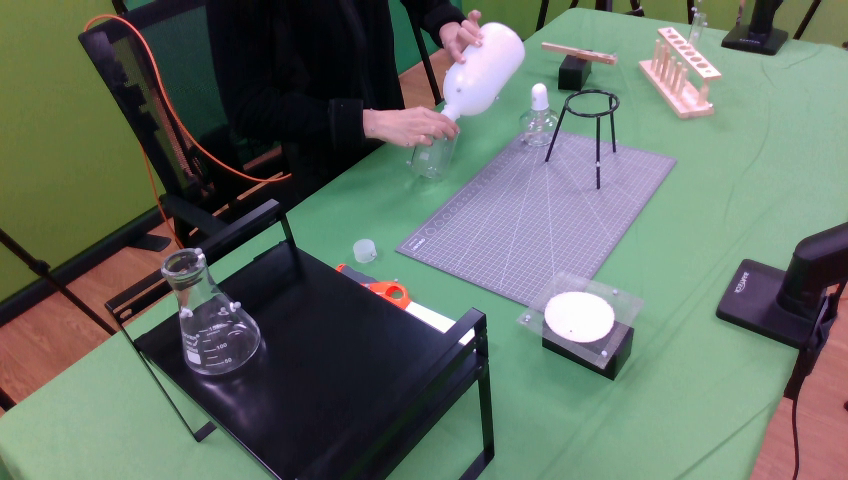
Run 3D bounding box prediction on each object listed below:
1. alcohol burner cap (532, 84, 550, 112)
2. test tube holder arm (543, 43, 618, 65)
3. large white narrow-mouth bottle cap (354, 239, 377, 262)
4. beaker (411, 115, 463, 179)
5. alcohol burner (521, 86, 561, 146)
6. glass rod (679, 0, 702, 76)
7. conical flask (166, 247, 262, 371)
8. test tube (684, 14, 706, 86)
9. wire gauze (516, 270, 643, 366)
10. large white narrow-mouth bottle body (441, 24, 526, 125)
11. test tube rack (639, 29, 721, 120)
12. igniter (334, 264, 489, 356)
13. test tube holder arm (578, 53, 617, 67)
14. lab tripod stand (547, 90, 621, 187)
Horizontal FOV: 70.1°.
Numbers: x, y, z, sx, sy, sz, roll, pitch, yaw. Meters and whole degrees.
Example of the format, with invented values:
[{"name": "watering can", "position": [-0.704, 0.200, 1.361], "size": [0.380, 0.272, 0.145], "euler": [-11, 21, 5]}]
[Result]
[{"name": "alcohol burner cap", "position": [0.218, -0.269, 1.133], "size": [0.034, 0.048, 0.033], "euler": [-8, 37, 7]}, {"name": "test tube holder arm", "position": [0.344, -0.413, 1.340], "size": [0.177, 0.015, 0.013], "euler": [25, 51, 31]}, {"name": "large white narrow-mouth bottle cap", "position": [-0.095, 0.017, 0.981], "size": [0.038, 0.024, 0.037], "euler": [-4, 40, 4]}, {"name": "beaker", "position": [0.023, -0.168, 1.108], "size": [0.085, 0.100, 0.073], "euler": [6, 20, -39]}, {"name": "alcohol burner", "position": [0.223, -0.241, 1.155], "size": [0.078, 0.119, 0.077], "euler": [-5, 43, 5]}, {"name": "glass rod", "position": [0.543, -0.417, 1.233], "size": [0.008, 0.200, 0.008], "euler": [1, 40, 0]}, {"name": "conical flask", "position": [-0.208, 0.064, 0.584], "size": [0.075, 0.122, 0.075], "euler": [-5, 40, 4]}, {"name": "test tube", "position": [0.540, -0.378, 1.215], "size": [0.017, 0.151, 0.017], "euler": [-2, 44, 3]}, {"name": "wire gauze", "position": [0.200, 0.093, 0.777], "size": [0.124, 0.011, 0.122], "euler": [23, 49, 32]}, {"name": "large white narrow-mouth bottle body", "position": [0.096, -0.292, 1.106], "size": [0.101, 0.102, 0.194], "euler": [29, 79, 36]}, {"name": "test tube rack", "position": [0.527, -0.351, 1.262], "size": [0.067, 0.085, 0.241], "euler": [-8, 40, 1]}, {"name": "igniter", "position": [-0.030, 0.095, 0.871], "size": [0.274, 0.025, 0.057], "euler": [22, 59, 31]}, {"name": "test tube holder arm", "position": [0.376, -0.393, 1.314], "size": [0.087, 0.015, 0.010], "euler": [26, 51, 32]}, {"name": "lab tripod stand", "position": [0.289, -0.184, 1.062], "size": [0.148, 0.132, 0.147], "euler": [-6, 41, 6]}]
